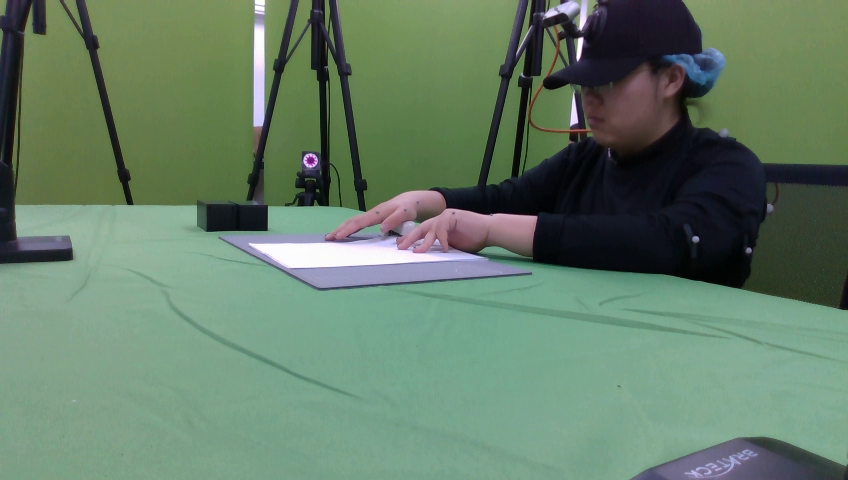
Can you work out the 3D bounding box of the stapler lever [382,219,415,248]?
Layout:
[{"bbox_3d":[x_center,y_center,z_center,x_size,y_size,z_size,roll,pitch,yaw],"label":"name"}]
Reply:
[{"bbox_3d":[-0.046,-0.021,1.072,0.027,0.040,0.117,1,21,-22],"label":"stapler lever"}]

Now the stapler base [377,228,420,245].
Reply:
[{"bbox_3d":[-0.045,-0.011,1.073,0.041,0.024,0.130,1,6,-22],"label":"stapler base"}]
